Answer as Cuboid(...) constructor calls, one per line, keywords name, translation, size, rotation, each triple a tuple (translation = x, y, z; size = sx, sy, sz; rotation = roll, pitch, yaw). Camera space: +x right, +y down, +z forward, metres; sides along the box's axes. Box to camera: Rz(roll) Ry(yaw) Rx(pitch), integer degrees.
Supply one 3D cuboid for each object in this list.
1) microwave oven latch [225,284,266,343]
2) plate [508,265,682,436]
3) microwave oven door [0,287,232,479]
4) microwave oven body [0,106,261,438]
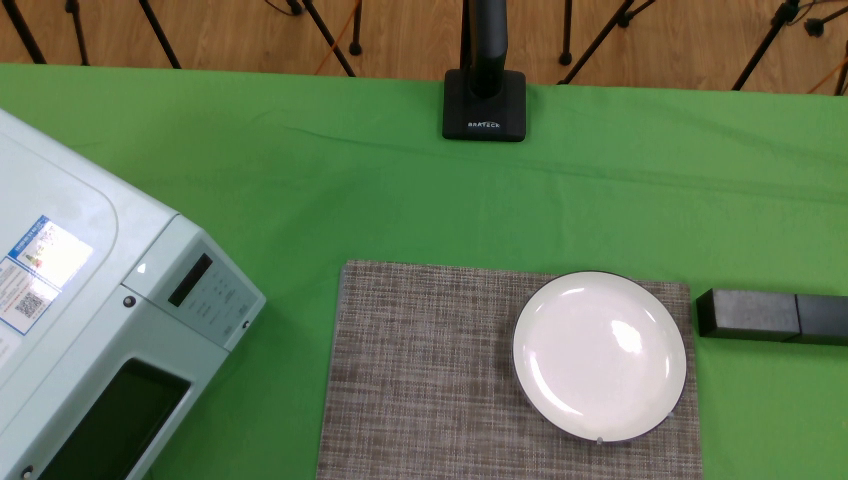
Cuboid(name="microwave oven latch", translation=(-0.227, 0.086, 0.745), size=(0.030, 0.030, 0.079), rotation=(31, 73, 11))
Cuboid(name="plate", translation=(0.205, 0.134, 0.740), size=(0.208, 0.039, 0.206), rotation=(0, 69, 0))
Cuboid(name="microwave oven door", translation=(-0.341, 0.226, 0.585), size=(0.039, 0.245, 0.354), rotation=(28, 72, 12))
Cuboid(name="microwave oven body", translation=(-0.446, 0.126, 0.629), size=(0.325, 0.262, 0.440), rotation=(29, 73, 10))
